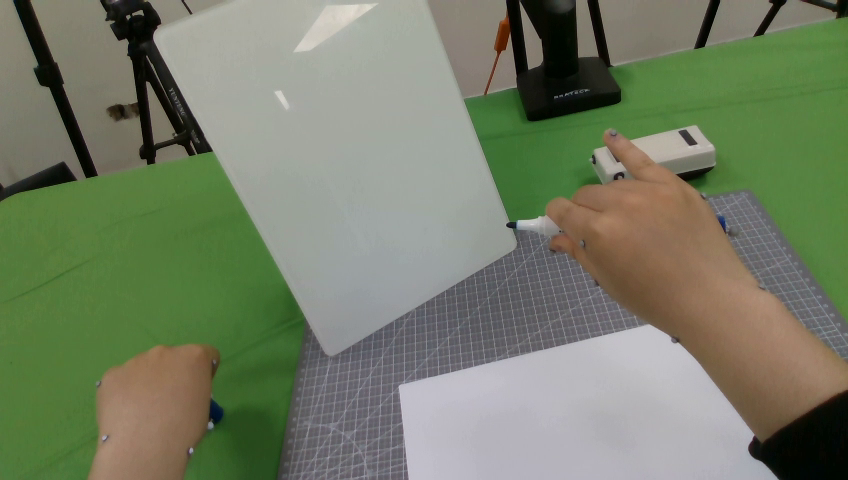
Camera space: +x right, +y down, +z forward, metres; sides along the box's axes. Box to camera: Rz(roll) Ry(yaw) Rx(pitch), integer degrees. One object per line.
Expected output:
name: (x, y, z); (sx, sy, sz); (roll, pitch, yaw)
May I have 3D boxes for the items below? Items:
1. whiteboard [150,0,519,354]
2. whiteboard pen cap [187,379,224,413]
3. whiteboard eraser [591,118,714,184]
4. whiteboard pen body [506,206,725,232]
whiteboard: (-0.078, -0.092, 0.582); (0.217, 0.307, 0.142); (-29, 22, -14)
whiteboard pen cap: (-0.187, 0.135, 0.519); (0.018, 0.033, 0.018); (-14, 44, 14)
whiteboard eraser: (0.237, -0.091, 0.634); (0.112, 0.042, 0.055); (-12, 43, 4)
whiteboard pen body: (0.125, -0.014, 0.408); (0.140, 0.017, 0.017); (0, 43, 15)
